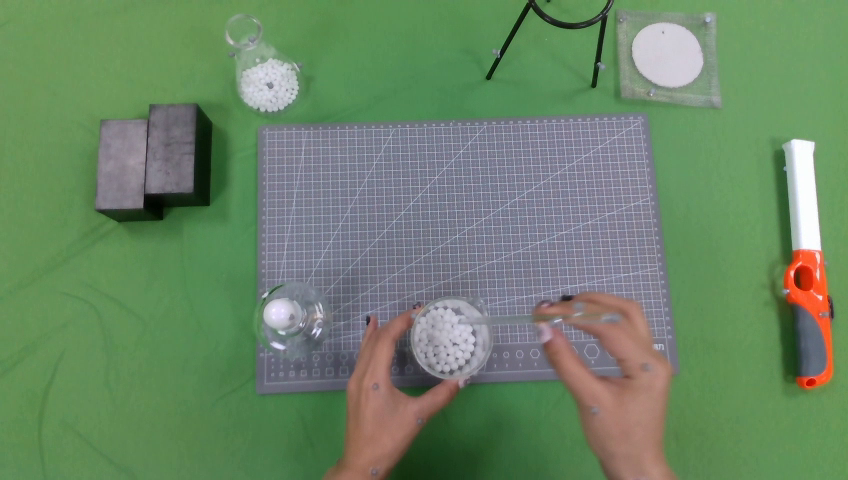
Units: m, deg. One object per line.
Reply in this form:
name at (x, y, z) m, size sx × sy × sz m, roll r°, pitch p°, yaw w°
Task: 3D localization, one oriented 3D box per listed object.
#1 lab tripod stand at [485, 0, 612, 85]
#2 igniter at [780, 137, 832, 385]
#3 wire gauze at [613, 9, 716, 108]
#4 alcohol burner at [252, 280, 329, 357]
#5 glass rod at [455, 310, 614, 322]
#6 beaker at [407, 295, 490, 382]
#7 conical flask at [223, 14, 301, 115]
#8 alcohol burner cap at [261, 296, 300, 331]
lab tripod stand at (0.139, -0.235, 0.659) m, size 0.148 × 0.132 × 0.148 m, roll 0°, pitch 80°, yaw -1°
igniter at (0.420, 0.020, 0.670) m, size 0.057 × 0.025 × 0.275 m, roll 5°, pitch 79°, yaw -11°
wire gauze at (0.289, -0.220, 0.724) m, size 0.125 × 0.011 × 0.121 m, roll 4°, pitch 79°, yaw -3°
alcohol burner at (-0.135, 0.075, 0.596) m, size 0.078 × 0.119 × 0.077 m, roll 0°, pitch 77°, yaw 1°
glass rod at (0.071, 0.057, 0.454) m, size 0.008 × 0.199 × 0.008 m, roll 4°, pitch 81°, yaw -25°
beaker at (0.021, 0.092, 0.584) m, size 0.074 × 0.100 × 0.084 m, roll 36°, pitch 79°, yaw 3°
conical flask at (-0.178, -0.191, 0.647) m, size 0.075 × 0.122 × 0.075 m, roll 0°, pitch 78°, yaw -1°
alcohol burner cap at (-0.134, 0.067, 0.561) m, size 0.034 × 0.048 × 0.033 m, roll 1°, pitch 82°, yaw -5°
